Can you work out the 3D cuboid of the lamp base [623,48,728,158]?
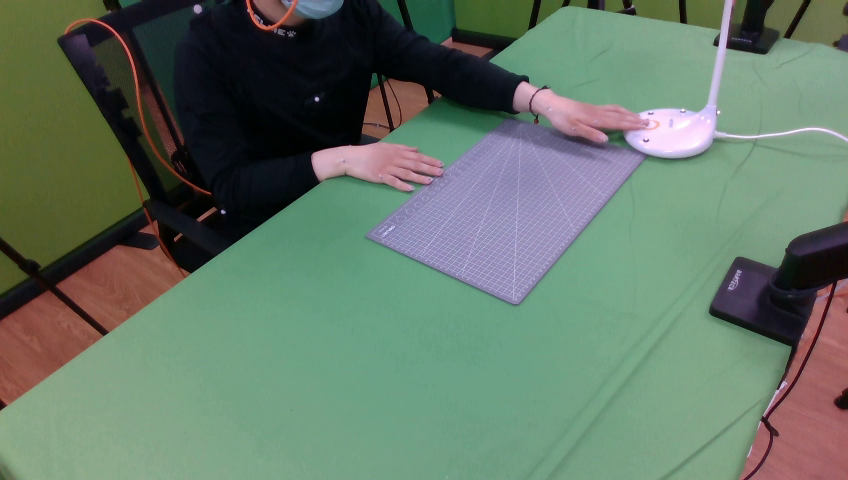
[{"bbox_3d":[0.463,-0.260,1.084,0.179,0.181,0.160,3,42,7],"label":"lamp base"}]
